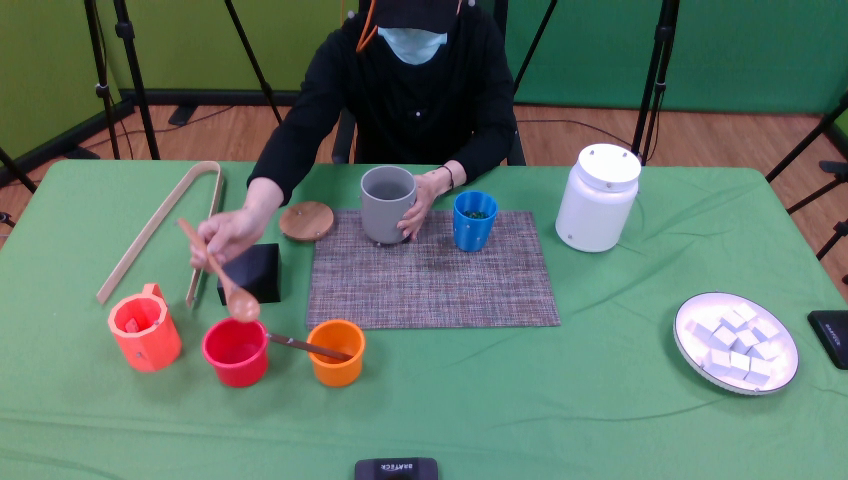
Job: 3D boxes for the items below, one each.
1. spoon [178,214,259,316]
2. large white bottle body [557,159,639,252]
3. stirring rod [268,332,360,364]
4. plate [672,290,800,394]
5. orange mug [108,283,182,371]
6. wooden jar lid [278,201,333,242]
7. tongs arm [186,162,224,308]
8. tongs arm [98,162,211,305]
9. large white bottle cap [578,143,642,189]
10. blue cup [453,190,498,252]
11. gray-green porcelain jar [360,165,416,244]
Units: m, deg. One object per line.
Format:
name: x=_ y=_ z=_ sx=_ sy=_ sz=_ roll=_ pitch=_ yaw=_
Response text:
spoon: x=-0.316 y=0.036 z=0.926 sx=0.041 sy=0.021 sz=0.193 roll=-34 pitch=89 yaw=-27
large white bottle body: x=0.340 y=-0.081 z=1.184 sx=0.131 sy=0.185 sz=0.130 roll=2 pitch=46 yaw=-1
stirring rod: x=-0.167 y=0.169 z=0.942 sx=0.177 sy=0.006 sz=0.014 roll=26 pitch=27 yaw=-41
plate: x=0.533 y=0.179 z=1.050 sx=0.208 sy=0.039 sz=0.206 roll=2 pitch=46 yaw=-2
orange mug: x=-0.445 y=0.134 z=0.982 sx=0.083 sy=0.101 sz=0.125 roll=-1 pitch=50 yaw=-5
wooden jar lid: x=-0.235 y=-0.036 z=1.212 sx=0.108 sy=0.021 sz=0.107 roll=0 pitch=48 yaw=0
tongs arm: x=-0.435 y=-0.025 z=1.180 sx=0.051 sy=0.027 sz=0.382 roll=-3 pitch=46 yaw=0
tongs arm: x=-0.519 y=-0.027 z=1.184 sx=0.028 sy=0.028 sz=0.385 roll=5 pitch=45 yaw=13
large white bottle cap: x=0.344 y=-0.139 z=1.123 sx=0.115 sy=0.018 sz=0.114 roll=2 pitch=46 yaw=-2
blue cup: x=0.094 y=-0.031 z=1.173 sx=0.093 sy=0.101 sz=0.092 roll=3 pitch=45 yaw=-3
gray-green porcelain jar: x=-0.071 y=-0.064 z=1.175 sx=0.106 sy=0.127 sz=0.105 roll=2 pitch=46 yaw=-2
